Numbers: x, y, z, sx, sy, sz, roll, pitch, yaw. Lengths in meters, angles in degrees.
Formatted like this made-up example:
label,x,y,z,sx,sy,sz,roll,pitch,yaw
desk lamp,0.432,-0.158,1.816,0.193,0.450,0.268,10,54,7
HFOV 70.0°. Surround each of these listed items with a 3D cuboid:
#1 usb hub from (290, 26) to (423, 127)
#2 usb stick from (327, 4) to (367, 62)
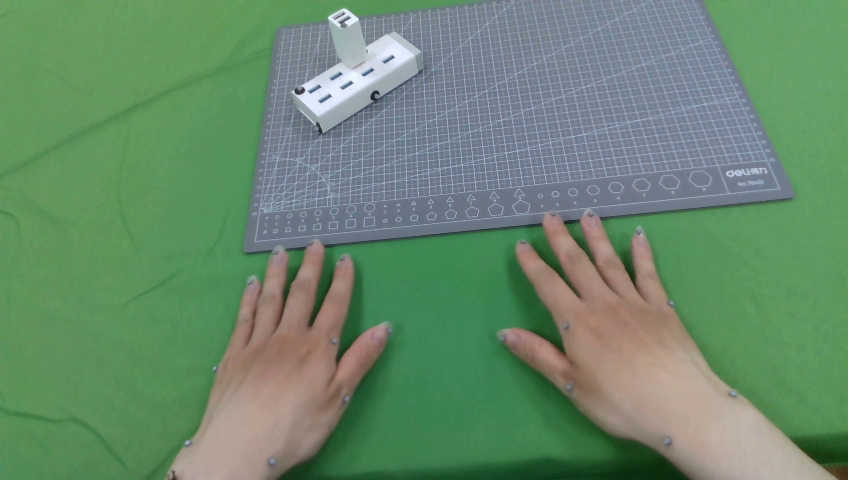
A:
label,x,y,z,sx,sy,sz,roll,pitch,yaw
usb hub,-0.065,-0.161,0.590,0.125,0.025,0.049,-36,59,-16
usb stick,-0.071,-0.190,0.575,0.021,0.060,0.027,-38,58,-16
